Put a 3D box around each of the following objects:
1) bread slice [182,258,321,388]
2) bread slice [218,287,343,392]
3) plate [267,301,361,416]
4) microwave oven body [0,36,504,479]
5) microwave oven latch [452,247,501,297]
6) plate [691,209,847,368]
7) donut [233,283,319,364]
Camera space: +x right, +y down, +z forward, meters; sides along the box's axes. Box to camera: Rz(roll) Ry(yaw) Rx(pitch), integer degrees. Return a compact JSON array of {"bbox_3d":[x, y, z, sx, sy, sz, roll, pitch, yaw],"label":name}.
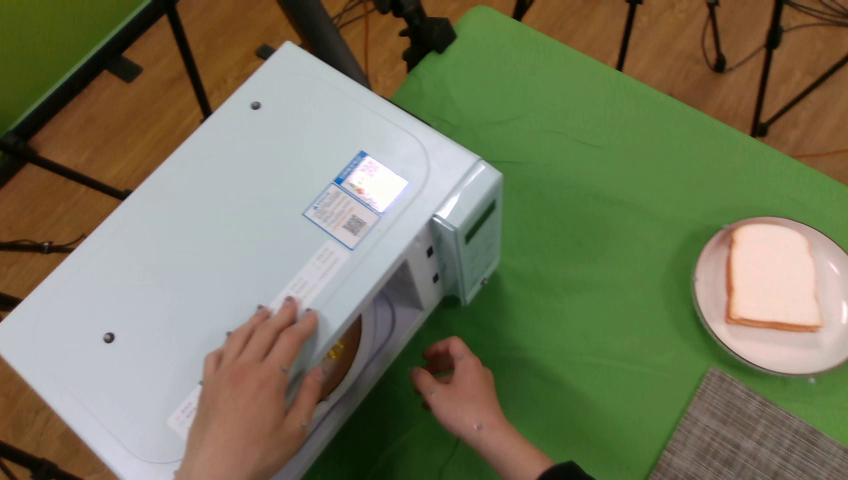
[{"bbox_3d":[-0.186,0.083,0.681,0.134,0.018,0.106,-40,77,-21],"label":"bread slice"},{"bbox_3d":[-0.181,0.124,0.743,0.131,0.019,0.104,-30,65,-28],"label":"bread slice"},{"bbox_3d":[-0.176,0.106,0.731,0.209,0.038,0.207,-1,68,4],"label":"plate"},{"bbox_3d":[-0.166,0.050,0.701,0.324,0.262,0.441,34,75,18],"label":"microwave oven body"},{"bbox_3d":[0.069,0.035,0.790,0.030,0.030,0.079,37,76,18],"label":"microwave oven latch"},{"bbox_3d":[0.440,0.061,0.762,0.207,0.039,0.206,-2,67,5],"label":"plate"},{"bbox_3d":[-0.171,0.097,0.707,0.099,0.048,0.098,3,62,-5],"label":"donut"}]
